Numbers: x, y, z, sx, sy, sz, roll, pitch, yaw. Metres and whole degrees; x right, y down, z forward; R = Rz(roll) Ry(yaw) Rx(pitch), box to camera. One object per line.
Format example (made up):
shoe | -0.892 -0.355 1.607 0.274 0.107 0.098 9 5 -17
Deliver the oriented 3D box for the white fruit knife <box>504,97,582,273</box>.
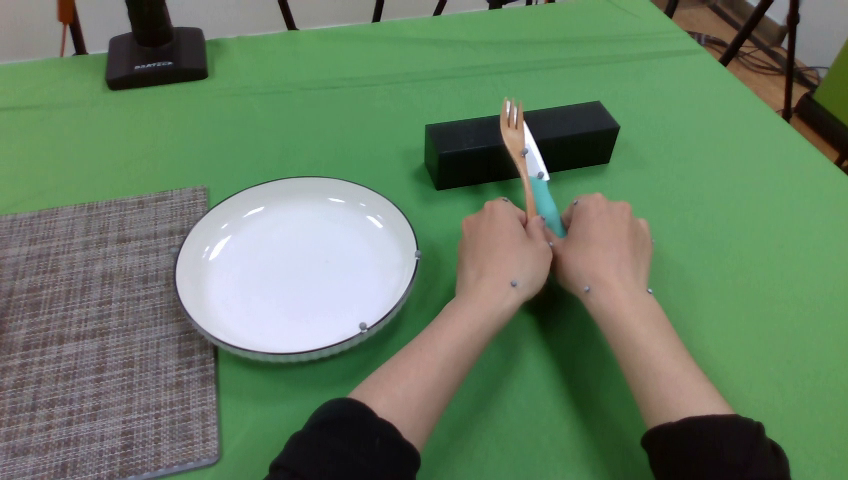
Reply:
white fruit knife | 0.110 -0.060 0.602 0.027 0.016 0.205 -10 66 -11

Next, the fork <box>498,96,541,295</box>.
fork | 0.092 -0.047 0.569 0.028 0.019 0.205 5 64 -19

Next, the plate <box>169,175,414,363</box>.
plate | -0.112 0.023 0.537 0.208 0.039 0.205 2 47 -1
